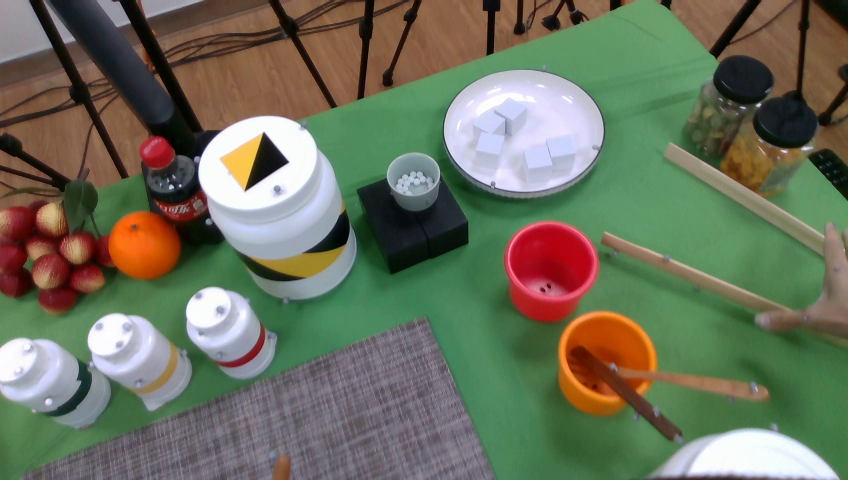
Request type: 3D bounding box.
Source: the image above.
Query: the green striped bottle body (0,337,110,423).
[{"bbox_3d":[-0.378,0.140,0.614,0.063,0.120,0.062,-1,59,3],"label":"green striped bottle body"}]

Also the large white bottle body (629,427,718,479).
[{"bbox_3d":[0.235,0.226,0.484,0.130,0.186,0.129,-2,59,3],"label":"large white bottle body"}]

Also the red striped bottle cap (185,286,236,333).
[{"bbox_3d":[-0.206,0.066,0.584,0.044,0.018,0.044,0,57,0],"label":"red striped bottle cap"}]

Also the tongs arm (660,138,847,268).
[{"bbox_3d":[0.435,-0.005,0.698,0.028,0.028,0.384,-37,64,-25],"label":"tongs arm"}]

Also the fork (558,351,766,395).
[{"bbox_3d":[0.210,0.124,0.567,0.206,0.019,0.028,-7,45,54],"label":"fork"}]

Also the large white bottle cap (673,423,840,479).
[{"bbox_3d":[0.230,0.182,0.412,0.115,0.018,0.114,-2,58,3],"label":"large white bottle cap"}]

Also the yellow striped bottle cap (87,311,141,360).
[{"bbox_3d":[-0.295,0.090,0.577,0.044,0.019,0.044,-1,60,2],"label":"yellow striped bottle cap"}]

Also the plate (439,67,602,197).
[{"bbox_3d":[0.124,-0.139,0.792,0.209,0.038,0.207,-1,60,3],"label":"plate"}]

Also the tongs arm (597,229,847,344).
[{"bbox_3d":[0.381,0.057,0.662,0.383,0.027,0.050,26,61,17],"label":"tongs arm"}]

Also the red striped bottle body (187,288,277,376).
[{"bbox_3d":[-0.201,0.093,0.629,0.063,0.121,0.062,-3,59,5],"label":"red striped bottle body"}]

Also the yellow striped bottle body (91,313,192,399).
[{"bbox_3d":[-0.292,0.117,0.621,0.063,0.121,0.062,-2,59,4],"label":"yellow striped bottle body"}]

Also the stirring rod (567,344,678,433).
[{"bbox_3d":[0.180,0.134,0.571,0.014,0.006,0.175,-18,17,-10],"label":"stirring rod"}]

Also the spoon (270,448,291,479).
[{"bbox_3d":[-0.125,0.243,0.490,0.041,0.195,0.021,23,29,18],"label":"spoon"}]

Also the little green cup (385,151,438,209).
[{"bbox_3d":[-0.013,-0.067,0.700,0.061,0.039,0.061,-2,57,3],"label":"little green cup"}]

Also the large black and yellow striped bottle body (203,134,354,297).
[{"bbox_3d":[-0.155,-0.030,0.662,0.131,0.185,0.129,-2,60,3],"label":"large black and yellow striped bottle body"}]

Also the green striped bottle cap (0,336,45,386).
[{"bbox_3d":[-0.383,0.114,0.568,0.044,0.020,0.044,0,59,1],"label":"green striped bottle cap"}]

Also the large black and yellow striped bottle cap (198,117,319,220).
[{"bbox_3d":[-0.161,-0.072,0.589,0.115,0.019,0.114,-2,59,4],"label":"large black and yellow striped bottle cap"}]
